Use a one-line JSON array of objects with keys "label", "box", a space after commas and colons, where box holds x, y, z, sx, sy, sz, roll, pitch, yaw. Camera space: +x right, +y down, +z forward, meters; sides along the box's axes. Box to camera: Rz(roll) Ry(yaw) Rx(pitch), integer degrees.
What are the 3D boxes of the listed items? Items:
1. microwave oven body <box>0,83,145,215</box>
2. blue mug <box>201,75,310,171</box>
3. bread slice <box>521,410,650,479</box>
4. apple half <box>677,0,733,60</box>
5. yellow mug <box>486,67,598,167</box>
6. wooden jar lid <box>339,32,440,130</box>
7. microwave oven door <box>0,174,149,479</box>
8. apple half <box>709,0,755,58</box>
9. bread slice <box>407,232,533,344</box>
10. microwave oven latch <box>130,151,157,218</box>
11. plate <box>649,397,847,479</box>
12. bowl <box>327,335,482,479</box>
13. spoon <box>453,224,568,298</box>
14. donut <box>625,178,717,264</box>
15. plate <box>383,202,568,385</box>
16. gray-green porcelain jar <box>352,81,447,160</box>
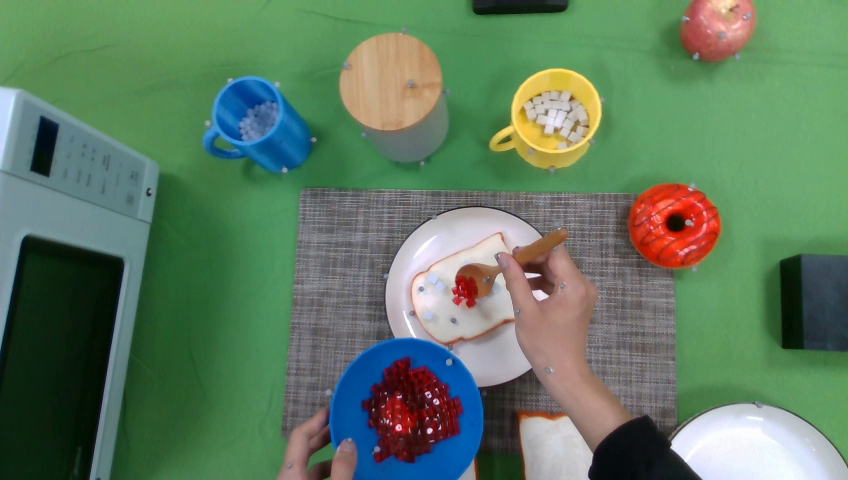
[{"label": "microwave oven body", "box": [-0.528, 0.078, 0.647, 0.325, 0.261, 0.440, 5, 82, 7]}, {"label": "blue mug", "box": [-0.207, -0.130, 0.726, 0.116, 0.106, 0.082, -24, 79, 3]}, {"label": "bread slice", "box": [0.173, 0.235, 0.636, 0.135, 0.018, 0.106, -3, 77, -14]}, {"label": "apple half", "box": [0.314, -0.235, 0.699, 0.033, 0.081, 0.081, -31, 79, -4]}, {"label": "yellow mug", "box": [0.134, -0.136, 0.710, 0.131, 0.064, 0.099, -22, 79, 3]}, {"label": "wooden jar lid", "box": [-0.036, -0.165, 0.639, 0.108, 0.021, 0.108, -1, 79, 7]}, {"label": "microwave oven door", "box": [-0.389, 0.131, 0.619, 0.039, 0.245, 0.354, 4, 81, 7]}, {"label": "apple half", "box": [0.346, -0.256, 0.700, 0.053, 0.075, 0.080, -30, 75, -5]}, {"label": "bread slice", "box": [0.048, 0.062, 0.702, 0.131, 0.019, 0.104, -24, 78, -1]}, {"label": "microwave oven latch", "box": [-0.353, -0.069, 0.748, 0.030, 0.029, 0.079, 7, 83, 7]}, {"label": "plate", "box": [0.340, 0.270, 0.639, 0.209, 0.038, 0.208, -1, 81, 7]}, {"label": "bowl", "box": [-0.024, 0.177, 0.613, 0.152, 0.077, 0.150, 4, 72, -10]}, {"label": "spoon", "box": [0.079, 0.023, 0.591, 0.021, 0.194, 0.041, -31, 87, -28]}, {"label": "donut", "box": [0.277, -0.021, 0.683, 0.099, 0.048, 0.098, -1, 82, 6]}, {"label": "plate", "box": [0.058, 0.060, 0.698, 0.207, 0.039, 0.207, -1, 81, 6]}, {"label": "gray-green porcelain jar", "box": [-0.028, -0.155, 0.700, 0.106, 0.127, 0.105, -1, 81, 6]}]
